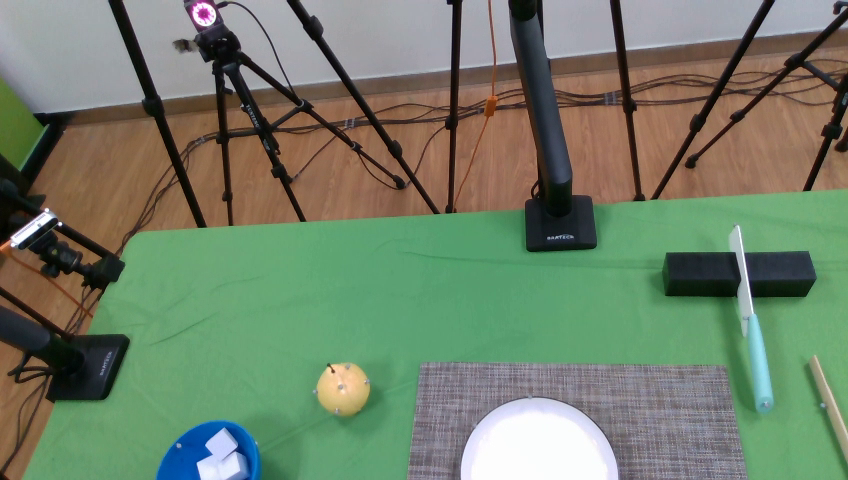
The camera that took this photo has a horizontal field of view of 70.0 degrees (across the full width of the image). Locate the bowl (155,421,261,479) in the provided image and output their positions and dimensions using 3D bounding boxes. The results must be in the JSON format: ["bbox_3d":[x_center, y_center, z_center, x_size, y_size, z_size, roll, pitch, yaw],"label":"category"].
[{"bbox_3d":[-0.295,0.345,0.866,0.151,0.077,0.150,-6,52,8],"label":"bowl"}]

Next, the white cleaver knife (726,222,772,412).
[{"bbox_3d":[0.469,0.106,0.882,0.021,0.066,0.284,-2,62,16],"label":"white cleaver knife"}]

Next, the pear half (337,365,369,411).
[{"bbox_3d":[-0.103,0.216,0.915,0.031,0.089,0.069,-23,42,-5],"label":"pear half"}]

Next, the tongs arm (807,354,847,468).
[{"bbox_3d":[0.548,0.316,0.733,0.028,0.028,0.383,-6,52,6],"label":"tongs arm"}]

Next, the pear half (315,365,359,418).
[{"bbox_3d":[-0.138,0.222,0.905,0.056,0.111,0.075,-23,41,-6],"label":"pear half"}]

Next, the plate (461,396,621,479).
[{"bbox_3d":[0.155,0.314,0.811,0.207,0.039,0.205,-6,52,8],"label":"plate"}]
